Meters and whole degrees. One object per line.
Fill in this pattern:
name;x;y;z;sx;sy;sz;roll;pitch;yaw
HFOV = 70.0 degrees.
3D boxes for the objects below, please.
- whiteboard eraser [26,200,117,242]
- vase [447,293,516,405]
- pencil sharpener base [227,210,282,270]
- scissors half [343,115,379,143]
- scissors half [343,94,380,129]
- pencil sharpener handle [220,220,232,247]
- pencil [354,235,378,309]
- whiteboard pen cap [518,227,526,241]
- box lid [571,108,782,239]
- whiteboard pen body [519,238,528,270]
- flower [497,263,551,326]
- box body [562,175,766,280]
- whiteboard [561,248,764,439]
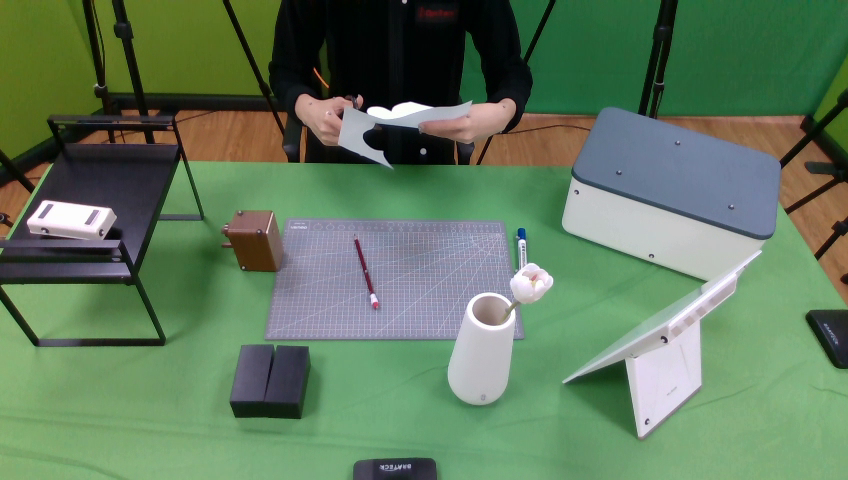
whiteboard eraser;-0.532;-0.026;0.919;0.113;0.042;0.055;7;45;3
vase;0.091;0.169;0.921;0.098;0.201;0.097;3;47;-3
pencil sharpener base;-0.311;0.001;1.112;0.077;0.107;0.061;1;47;1
scissors half;-0.109;-0.195;1.042;0.013;0.040;0.175;-5;2;-24
scissors half;-0.109;-0.216;1.037;0.013;0.040;0.174;-10;31;-23
pencil sharpener handle;-0.362;-0.009;1.105;0.030;0.068;0.036;1;52;1
pencil;-0.112;0.055;1.143;0.012;0.012;0.192;-10;46;-13
whiteboard pen cap;0.197;-0.009;1.220;0.018;0.018;0.033;5;51;1
box lid;0.491;-0.139;1.168;0.370;0.015;0.262;21;49;15
whiteboard pen body;0.193;0.035;1.181;0.017;0.017;0.140;6;48;1
flower;0.102;0.121;0.853;0.044;0.363;0.038;-2;64;-10
box body;0.486;-0.088;1.222;0.363;0.161;0.253;20;48;15
whiteboard;0.386;0.176;0.905;0.217;0.306;0.143;-26;72;-27
